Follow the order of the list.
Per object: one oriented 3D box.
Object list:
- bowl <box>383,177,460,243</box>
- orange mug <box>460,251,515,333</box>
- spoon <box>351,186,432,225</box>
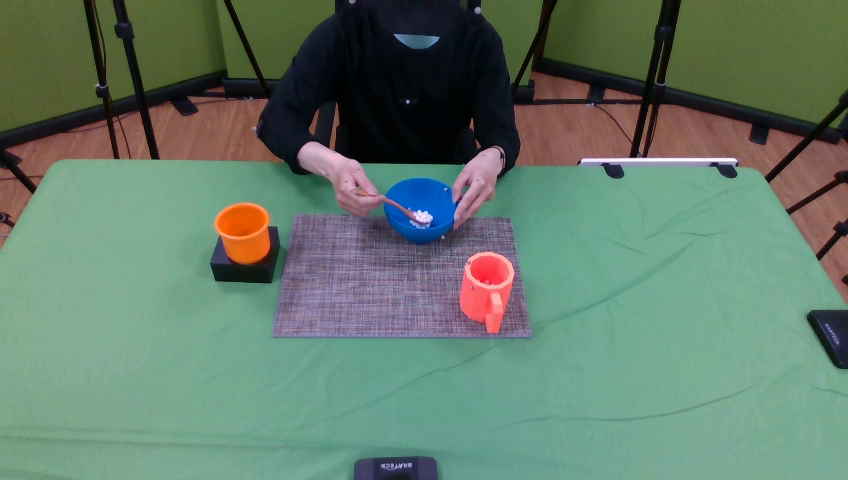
[{"bbox_3d":[-0.006,-0.047,1.197,0.151,0.077,0.150,2,46,-2],"label":"bowl"},{"bbox_3d":[0.114,0.095,1.053,0.083,0.101,0.125,-5,42,-8],"label":"orange mug"},{"bbox_3d":[-0.059,-0.067,1.138,0.195,0.021,0.041,26,26,-40],"label":"spoon"}]
